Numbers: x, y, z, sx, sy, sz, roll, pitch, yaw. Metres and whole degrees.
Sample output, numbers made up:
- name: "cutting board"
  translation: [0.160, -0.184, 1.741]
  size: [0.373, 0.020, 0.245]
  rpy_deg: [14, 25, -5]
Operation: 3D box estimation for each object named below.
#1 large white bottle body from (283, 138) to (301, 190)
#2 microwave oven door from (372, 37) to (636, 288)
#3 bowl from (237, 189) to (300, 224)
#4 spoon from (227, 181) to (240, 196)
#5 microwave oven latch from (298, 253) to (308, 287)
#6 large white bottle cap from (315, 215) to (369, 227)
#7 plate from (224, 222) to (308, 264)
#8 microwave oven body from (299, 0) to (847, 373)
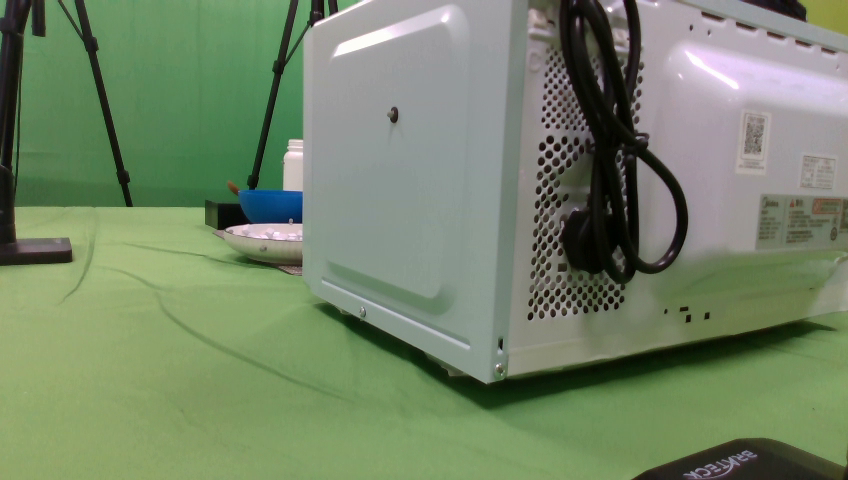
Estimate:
- name: "large white bottle body"
  translation: [-0.265, -0.143, 1.423]
  size: [0.131, 0.184, 0.130]
  rpy_deg: [2, 7, 0]
- name: "microwave oven door"
  translation: [0.110, -0.080, 0.686]
  size: [0.358, 0.243, 0.039]
  rpy_deg: [-2, 9, -33]
- name: "bowl"
  translation: [-0.247, -0.046, 1.054]
  size: [0.151, 0.077, 0.151]
  rpy_deg: [3, 8, 0]
- name: "spoon"
  translation: [-0.314, -0.074, 1.234]
  size: [0.195, 0.021, 0.041]
  rpy_deg: [24, -9, -37]
- name: "microwave oven latch"
  translation: [-0.081, 0.028, 0.580]
  size: [0.079, 0.029, 0.030]
  rpy_deg: [-1, 7, -28]
- name: "large white bottle cap"
  translation: [-0.177, -0.041, 1.308]
  size: [0.115, 0.018, 0.115]
  rpy_deg: [2, 6, 0]
- name: "plate"
  translation: [-0.171, 0.004, 0.849]
  size: [0.209, 0.038, 0.209]
  rpy_deg: [2, 7, 0]
- name: "microwave oven body"
  translation: [0.152, -0.055, 0.542]
  size: [0.444, 0.260, 0.324]
  rpy_deg: [-2, 7, -33]
